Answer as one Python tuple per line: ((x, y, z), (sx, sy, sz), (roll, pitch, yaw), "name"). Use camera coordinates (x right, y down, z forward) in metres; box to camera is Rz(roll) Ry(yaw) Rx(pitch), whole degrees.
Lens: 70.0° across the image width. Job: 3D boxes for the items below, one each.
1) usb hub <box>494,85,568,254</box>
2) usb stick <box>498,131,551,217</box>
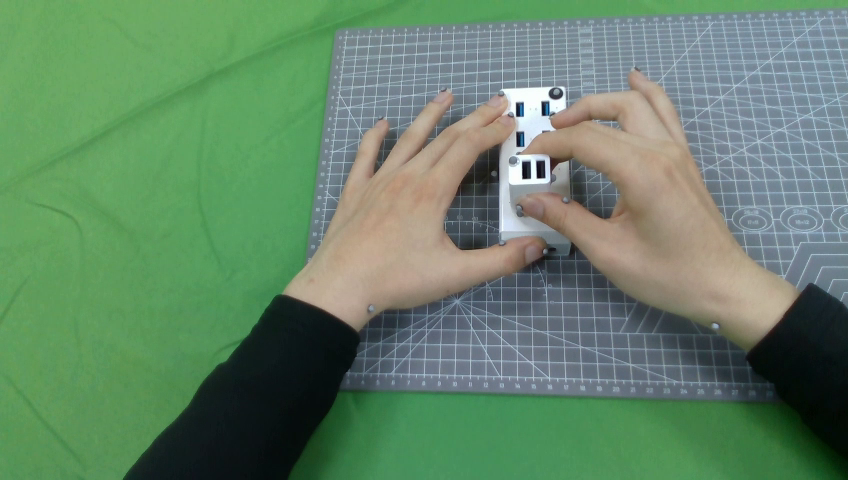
((0.074, -0.052, 0.428), (0.049, 0.025, 0.124), (0, 68, 5), "usb hub")
((0.063, -0.042, 0.377), (0.027, 0.060, 0.021), (-32, 57, -8), "usb stick")
